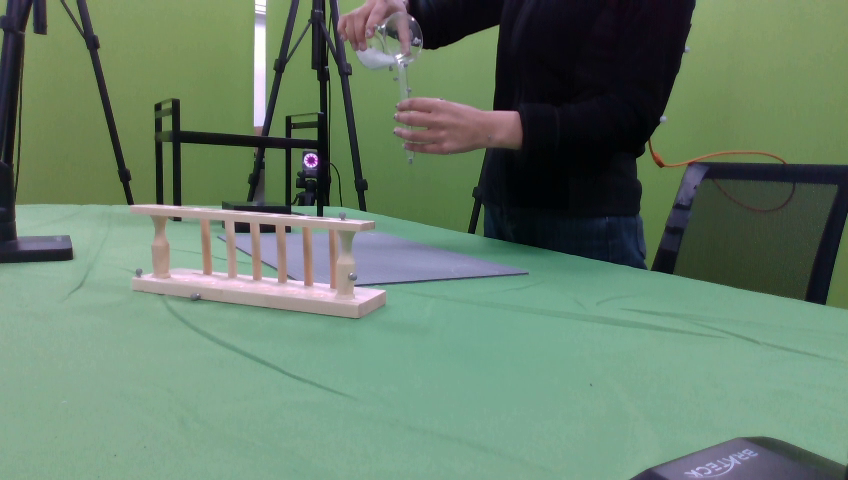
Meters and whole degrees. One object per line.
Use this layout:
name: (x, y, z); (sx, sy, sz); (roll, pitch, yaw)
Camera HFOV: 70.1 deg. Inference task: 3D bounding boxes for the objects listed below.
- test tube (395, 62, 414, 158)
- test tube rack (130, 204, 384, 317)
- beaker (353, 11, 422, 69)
test tube: (-0.030, -0.201, 0.933); (0.017, 0.150, 0.017); (-6, -5, 0)
test tube rack: (-0.163, 0.013, 0.589); (0.242, 0.085, 0.067); (5, 8, 17)
beaker: (-0.062, -0.315, 0.975); (0.074, 0.084, 0.100); (1, 4, -37)
